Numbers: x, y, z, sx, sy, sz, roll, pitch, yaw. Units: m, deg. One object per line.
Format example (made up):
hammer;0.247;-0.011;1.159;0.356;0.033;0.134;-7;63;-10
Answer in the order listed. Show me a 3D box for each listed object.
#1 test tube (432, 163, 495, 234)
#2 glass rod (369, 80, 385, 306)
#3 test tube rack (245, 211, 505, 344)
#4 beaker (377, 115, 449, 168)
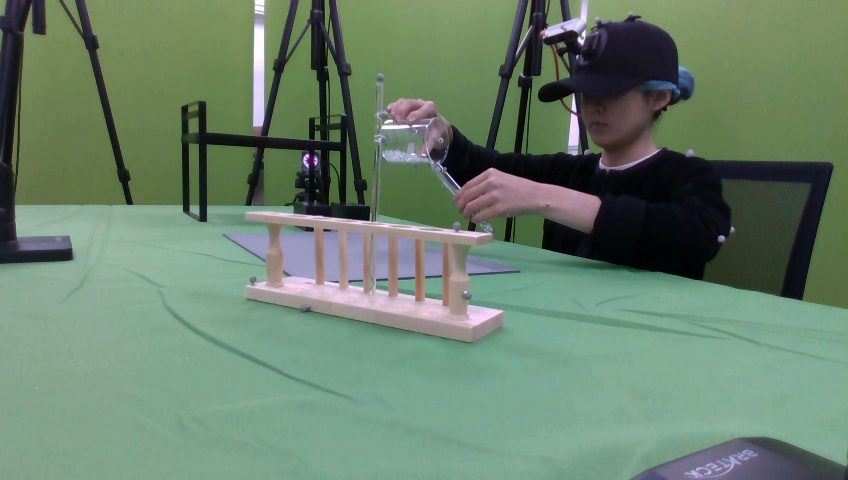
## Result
test tube;0.061;-0.064;0.938;0.017;0.017;0.149;-8;53;-53
glass rod;-0.041;-0.039;0.530;0.008;0.199;0.008;3;2;0
test tube rack;-0.049;0.025;0.547;0.241;0.085;0.067;7;8;29
beaker;-0.019;-0.158;0.985;0.100;0.084;0.074;4;3;31
